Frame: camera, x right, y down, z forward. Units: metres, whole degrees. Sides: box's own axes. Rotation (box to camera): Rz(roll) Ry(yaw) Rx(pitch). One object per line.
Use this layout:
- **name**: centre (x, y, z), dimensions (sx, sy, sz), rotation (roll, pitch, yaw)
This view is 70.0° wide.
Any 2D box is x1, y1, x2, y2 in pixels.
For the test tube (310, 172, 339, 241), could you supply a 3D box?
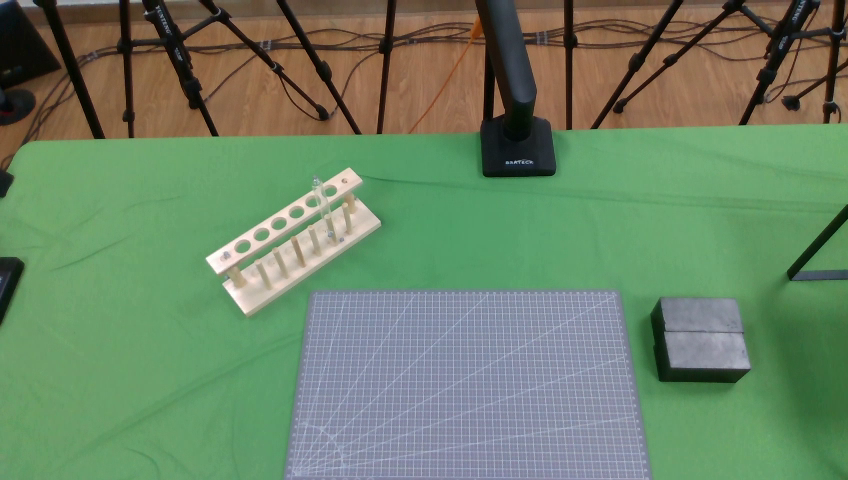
- **test tube**: centre (-0.139, -0.044, 0.856), dimensions (0.017, 0.151, 0.017), rotation (-1, 57, 3)

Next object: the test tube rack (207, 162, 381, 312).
- **test tube rack**: centre (-0.183, -0.006, 0.887), dimensions (0.242, 0.086, 0.066), rotation (-36, 63, -18)
